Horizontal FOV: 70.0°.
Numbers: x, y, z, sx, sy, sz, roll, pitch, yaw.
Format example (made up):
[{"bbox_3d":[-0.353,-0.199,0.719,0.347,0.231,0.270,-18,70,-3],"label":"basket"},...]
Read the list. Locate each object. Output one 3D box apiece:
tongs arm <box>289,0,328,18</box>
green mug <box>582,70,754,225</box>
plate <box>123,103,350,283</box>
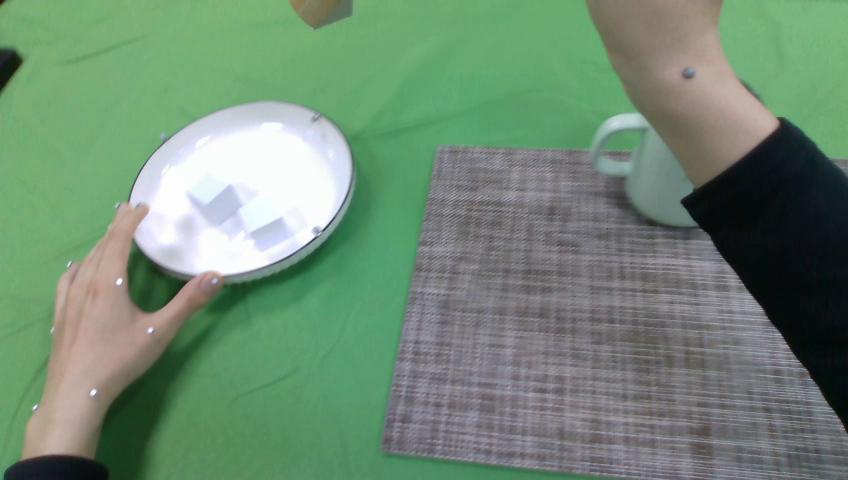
[{"bbox_3d":[0.029,-0.176,0.236,0.386,0.028,0.028,-11,33,54],"label":"tongs arm"},{"bbox_3d":[0.196,-0.074,0.503,0.125,0.106,0.092,2,56,8],"label":"green mug"},{"bbox_3d":[-0.170,-0.044,0.569,0.209,0.038,0.207,-3,55,4],"label":"plate"}]
